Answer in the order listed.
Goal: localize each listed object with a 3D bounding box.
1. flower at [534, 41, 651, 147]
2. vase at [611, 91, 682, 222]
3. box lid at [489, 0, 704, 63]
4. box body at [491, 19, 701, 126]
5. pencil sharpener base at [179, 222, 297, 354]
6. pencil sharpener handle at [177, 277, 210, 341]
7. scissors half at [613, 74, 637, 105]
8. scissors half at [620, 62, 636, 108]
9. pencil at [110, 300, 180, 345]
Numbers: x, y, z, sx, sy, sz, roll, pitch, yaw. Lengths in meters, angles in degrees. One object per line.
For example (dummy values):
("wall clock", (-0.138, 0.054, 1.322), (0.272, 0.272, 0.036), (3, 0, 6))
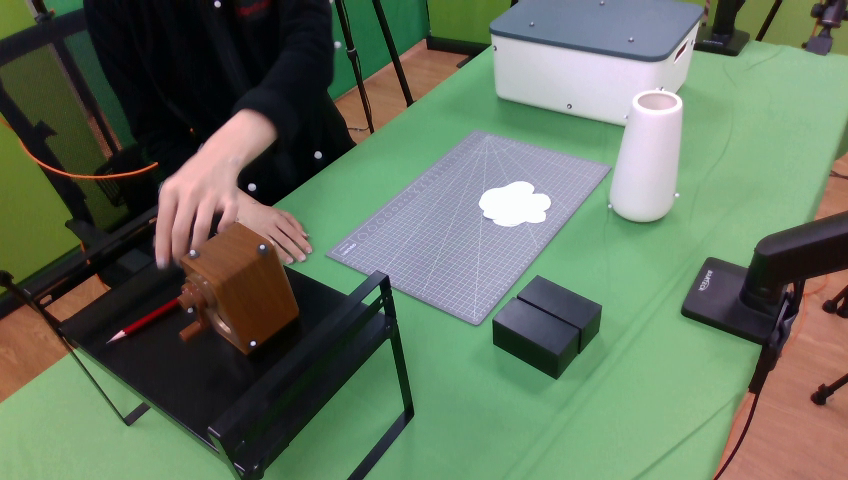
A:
("flower", (0.364, -0.319, 1.319), (0.038, 0.044, 0.359), (-4, 48, -50))
("vase", (0.348, -0.125, 0.935), (0.098, 0.201, 0.097), (-3, 40, 3))
("box lid", (0.345, -0.441, 1.217), (0.369, 0.015, 0.264), (21, 49, 29))
("box body", (0.352, -0.384, 1.268), (0.361, 0.161, 0.255), (21, 48, 29))
("pencil sharpener base", (-0.182, 0.050, 0.598), (0.061, 0.107, 0.077), (26, 51, 33))
("pencil sharpener handle", (-0.220, 0.067, 0.564), (0.036, 0.068, 0.031), (34, 55, 24))
("scissors half", (0.427, -0.330, 1.306), (0.013, 0.040, 0.174), (31, 31, -14))
("scissors half", (0.434, -0.340, 1.298), (0.013, 0.040, 0.174), (25, 42, -11))
("pencil", (-0.257, 0.059, 0.675), (0.195, 0.012, 0.012), (-36, 48, -27))
